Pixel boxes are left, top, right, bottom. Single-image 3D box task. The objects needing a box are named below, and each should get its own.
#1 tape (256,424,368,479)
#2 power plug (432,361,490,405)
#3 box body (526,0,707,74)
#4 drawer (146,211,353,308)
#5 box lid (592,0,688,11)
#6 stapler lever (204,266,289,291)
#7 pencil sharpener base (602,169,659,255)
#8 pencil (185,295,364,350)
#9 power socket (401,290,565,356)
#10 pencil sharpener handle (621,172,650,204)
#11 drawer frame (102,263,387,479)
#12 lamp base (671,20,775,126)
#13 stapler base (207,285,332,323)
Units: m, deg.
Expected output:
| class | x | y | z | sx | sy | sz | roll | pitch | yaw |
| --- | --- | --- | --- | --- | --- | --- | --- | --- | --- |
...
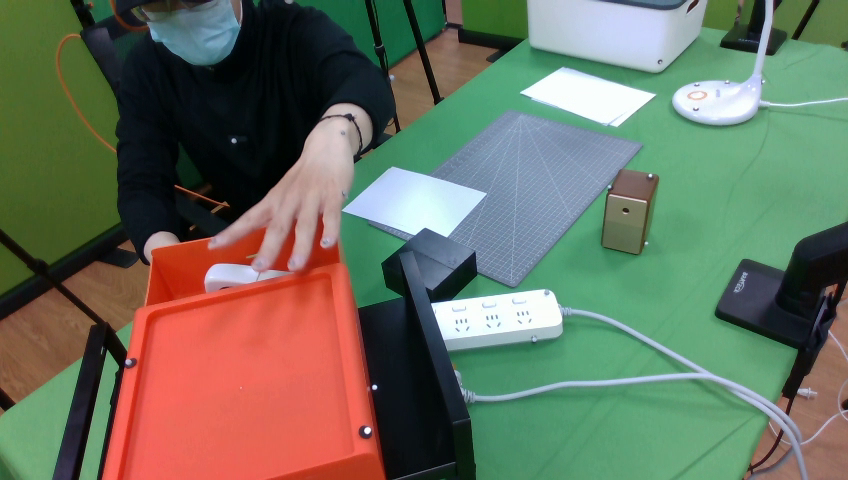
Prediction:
| class | x | y | z | sx | sy | sz | roll | pitch | yaw |
| --- | --- | --- | --- | --- | --- | --- | --- | --- | --- |
| tape | -0.121 | 0.264 | 0.659 | 0.117 | 0.053 | 0.116 | -5 | 39 | 4 |
| power plug | 0.044 | 0.182 | 0.759 | 0.073 | 0.035 | 0.052 | 25 | 42 | -20 |
| box body | 0.450 | -0.540 | 1.430 | 0.361 | 0.161 | 0.255 | 24 | 50 | 31 |
| drawer | -0.167 | 0.077 | 0.587 | 0.195 | 0.073 | 0.210 | -12 | 41 | -6 |
| box lid | 0.441 | -0.596 | 1.383 | 0.368 | 0.015 | 0.264 | 24 | 49 | 31 |
| stapler lever | -0.165 | 0.046 | 0.619 | 0.118 | 0.040 | 0.026 | -2 | 46 | 4 |
| pencil sharpener base | 0.312 | -0.044 | 0.913 | 0.061 | 0.107 | 0.077 | 14 | 44 | 24 |
| pencil | -0.153 | 0.081 | 0.611 | 0.194 | 0.012 | 0.012 | 14 | 44 | 8 |
| power socket | 0.080 | 0.112 | 0.821 | 0.227 | 0.033 | 0.072 | -6 | 41 | 0 |
| pencil sharpener handle | 0.328 | -0.086 | 0.940 | 0.036 | 0.068 | 0.030 | 30 | 49 | 7 |
| drawer frame | -0.146 | 0.132 | 0.516 | 0.202 | 0.083 | 0.212 | -13 | 41 | -7 |
| lamp base | 0.582 | -0.332 | 1.153 | 0.179 | 0.181 | 0.160 | 2 | 42 | 7 |
| stapler base | -0.165 | 0.064 | 0.635 | 0.130 | 0.024 | 0.041 | -1 | 46 | 4 |
